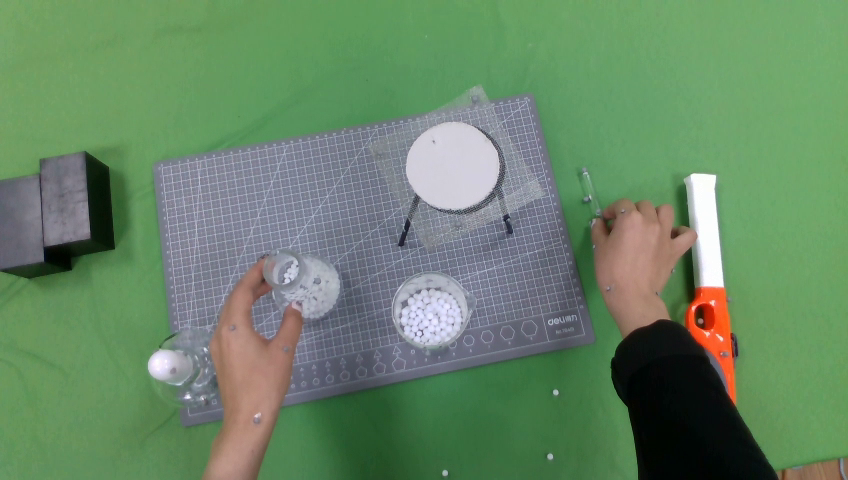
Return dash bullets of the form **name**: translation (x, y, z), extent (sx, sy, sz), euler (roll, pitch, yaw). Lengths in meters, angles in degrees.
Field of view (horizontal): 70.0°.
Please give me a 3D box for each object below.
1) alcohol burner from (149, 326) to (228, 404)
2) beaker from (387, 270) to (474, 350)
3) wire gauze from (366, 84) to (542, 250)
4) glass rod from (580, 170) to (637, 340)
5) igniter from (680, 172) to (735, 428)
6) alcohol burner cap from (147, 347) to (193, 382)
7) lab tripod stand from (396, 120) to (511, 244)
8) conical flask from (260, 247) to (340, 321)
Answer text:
- **alcohol burner**: translation (-0.238, 0.123, 0.598), extent (0.078, 0.119, 0.077), euler (0, 78, -1)
- **beaker**: translation (0.007, 0.074, 0.615), extent (0.084, 0.100, 0.073), euler (-13, 78, -3)
- **wire gauze**: translation (0.026, -0.068, 0.559), extent (0.125, 0.011, 0.121), euler (-27, 80, -4)
- **glass rod**: translation (0.204, 0.014, 0.675), extent (0.008, 0.008, 0.199), euler (-13, 79, -3)
- **igniter**: translation (0.304, 0.060, 0.656), extent (0.057, 0.025, 0.275), euler (3, 78, -10)
- **alcohol burner cap**: translation (-0.238, 0.114, 0.563), extent (0.034, 0.048, 0.033), euler (1, 74, -4)
- **lab tripod stand**: translation (0.028, -0.052, 0.625), extent (0.148, 0.132, 0.147), euler (0, 79, 1)
- **conical flask**: translation (-0.130, 0.039, 0.611), extent (0.075, 0.122, 0.075), euler (0, 77, 1)
